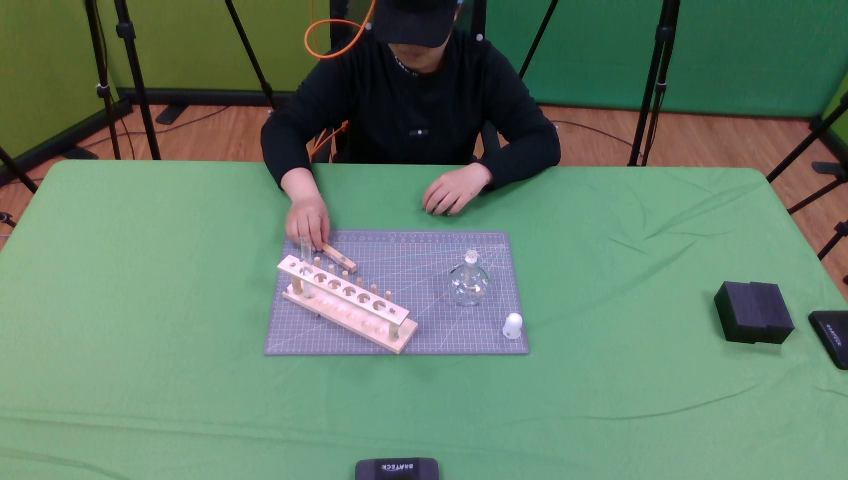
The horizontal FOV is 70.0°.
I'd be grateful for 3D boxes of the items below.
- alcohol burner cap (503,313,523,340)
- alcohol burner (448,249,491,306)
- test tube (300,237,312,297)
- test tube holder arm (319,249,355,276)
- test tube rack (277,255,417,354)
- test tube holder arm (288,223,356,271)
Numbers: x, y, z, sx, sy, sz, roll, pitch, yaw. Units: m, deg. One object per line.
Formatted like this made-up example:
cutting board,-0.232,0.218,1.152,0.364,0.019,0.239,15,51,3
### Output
alcohol burner cap,0.156,0.147,1.051,0.034,0.048,0.033,1,46,-1
alcohol burner,0.081,0.062,1.078,0.078,0.120,0.077,1,45,-1
test tube,-0.198,0.049,1.019,0.017,0.151,0.017,4,49,-5
test tube holder arm,-0.166,0.038,1.154,0.087,0.010,0.015,37,48,21
test tube rack,-0.131,0.099,1.045,0.241,0.085,0.066,23,49,17
test tube holder arm,-0.199,0.011,1.169,0.177,0.013,0.015,32,46,26
